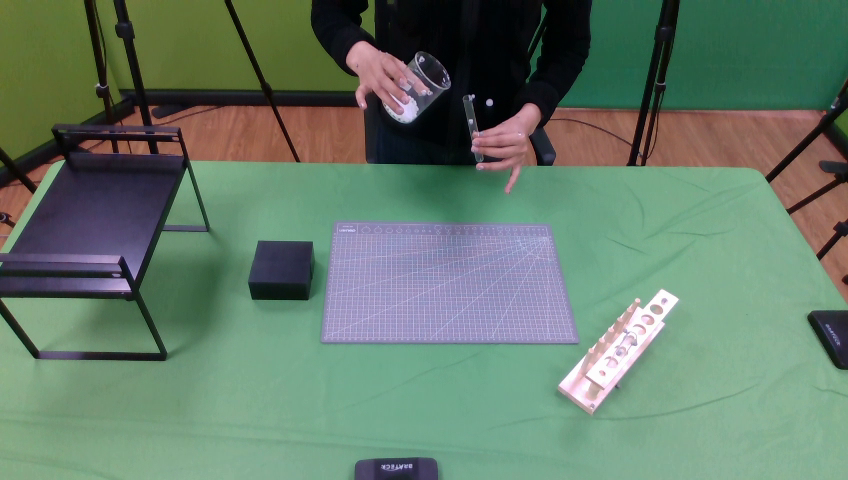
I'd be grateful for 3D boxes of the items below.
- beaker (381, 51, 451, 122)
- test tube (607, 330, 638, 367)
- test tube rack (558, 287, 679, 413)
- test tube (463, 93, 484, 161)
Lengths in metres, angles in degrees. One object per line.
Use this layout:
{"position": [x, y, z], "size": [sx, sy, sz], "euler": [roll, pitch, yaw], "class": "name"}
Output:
{"position": [-0.014, -0.247, 0.994], "size": [0.084, 0.100, 0.073], "euler": [15, 51, -40], "class": "beaker"}
{"position": [0.293, 0.184, 0.925], "size": [0.017, 0.151, 0.017], "euler": [4, 48, -4], "class": "test tube"}
{"position": [0.326, 0.170, 1.009], "size": [0.066, 0.085, 0.242], "euler": [36, 54, 27], "class": "test tube rack"}
{"position": [0.088, -0.195, 1.063], "size": [0.017, 0.151, 0.017], "euler": [-8, 51, 10], "class": "test tube"}
